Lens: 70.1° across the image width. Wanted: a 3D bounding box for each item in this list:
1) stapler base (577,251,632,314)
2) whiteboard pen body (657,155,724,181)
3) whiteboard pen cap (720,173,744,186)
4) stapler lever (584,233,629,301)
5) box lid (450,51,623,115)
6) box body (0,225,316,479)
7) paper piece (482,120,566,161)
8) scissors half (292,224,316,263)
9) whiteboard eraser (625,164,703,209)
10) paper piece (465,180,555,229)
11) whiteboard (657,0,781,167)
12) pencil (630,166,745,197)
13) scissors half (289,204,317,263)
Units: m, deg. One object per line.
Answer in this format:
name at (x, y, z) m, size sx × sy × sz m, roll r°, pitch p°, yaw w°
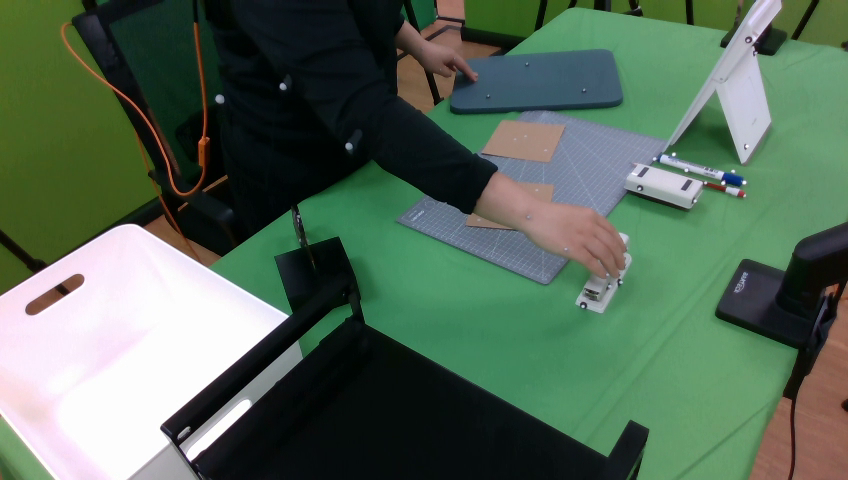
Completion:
stapler base at (0.264, 0.051, 0.874) m, size 0.041 × 0.024 × 0.131 m, roll 17°, pitch 48°, yaw 29°
whiteboard pen body at (0.475, -0.122, 1.052) m, size 0.139 × 0.017 × 0.017 m, roll 24°, pitch 50°, yaw 32°
whiteboard pen cap at (0.519, -0.102, 1.020) m, size 0.033 × 0.018 × 0.018 m, roll 23°, pitch 49°, yaw 31°
stapler lever at (0.261, 0.035, 0.858) m, size 0.026 × 0.040 × 0.118 m, roll 17°, pitch 46°, yaw 29°
box lid at (0.251, -0.358, 1.370) m, size 0.371 × 0.015 × 0.262 m, roll -1°, pitch 40°, yaw 9°
box body at (-0.339, 0.162, 0.728) m, size 0.361 × 0.161 × 0.255 m, roll 23°, pitch 48°, yaw 31°
paper piece at (0.197, -0.199, 1.188) m, size 0.135 × 0.004 × 0.135 m, roll 10°, pitch 44°, yaw 22°
scissors half at (-0.187, 0.007, 0.954) m, size 0.013 × 0.040 × 0.174 m, roll -19°, pitch 21°, yaw -15°
whiteboard eraser at (0.396, -0.086, 1.003) m, size 0.112 × 0.042 × 0.056 m, roll 23°, pitch 48°, yaw 31°
paper piece at (0.150, -0.062, 1.034) m, size 0.137 × 0.009 × 0.136 m, roll 5°, pitch 38°, yaw 17°
whiteboard at (0.572, -0.272, 1.038) m, size 0.143 × 0.306 × 0.218 m, roll 37°, pitch 54°, yaw 17°
pencil at (0.447, -0.103, 1.039) m, size 0.192 × 0.012 × 0.012 m, roll 21°, pitch 48°, yaw 30°
scissors half at (-0.189, -0.010, 0.944) m, size 0.013 × 0.040 × 0.173 m, roll -14°, pitch 37°, yaw -18°
